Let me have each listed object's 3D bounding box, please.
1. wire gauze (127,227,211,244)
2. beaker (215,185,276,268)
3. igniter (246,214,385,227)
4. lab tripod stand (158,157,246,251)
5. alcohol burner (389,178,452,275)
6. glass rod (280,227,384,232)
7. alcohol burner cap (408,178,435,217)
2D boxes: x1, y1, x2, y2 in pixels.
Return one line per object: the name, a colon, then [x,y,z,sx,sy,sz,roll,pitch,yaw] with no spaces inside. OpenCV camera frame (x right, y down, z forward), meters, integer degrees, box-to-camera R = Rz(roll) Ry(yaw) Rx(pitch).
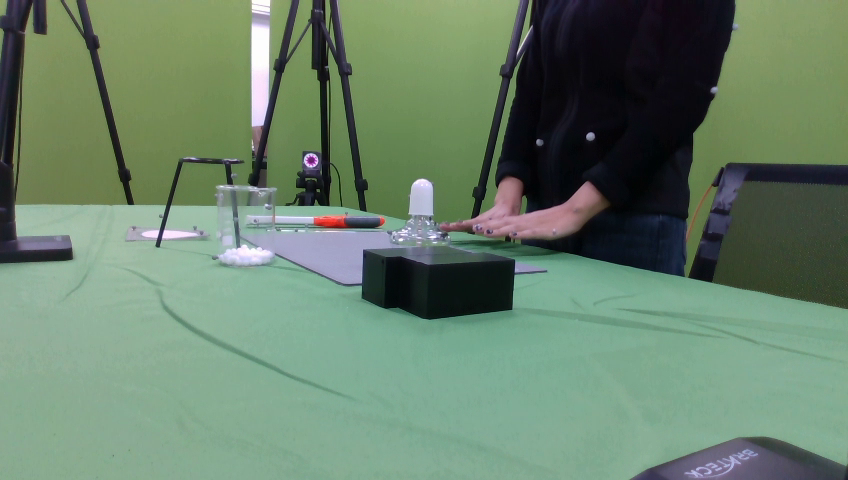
wire gauze: [-0.420,-0.010,0.999,0.122,0.011,0.124,-2,10,-24]
beaker: [-0.226,-0.019,0.773,0.074,0.100,0.084,5,7,14]
igniter: [-0.214,-0.040,1.216,0.278,0.025,0.057,0,-2,-23]
lab tripod stand: [-0.314,-0.055,0.891,0.148,0.131,0.148,2,9,0]
alcohol burner: [-0.004,-0.017,0.749,0.078,0.119,0.078,1,9,0]
glass rod: [-0.175,-0.021,1.161,0.200,0.008,0.008,1,7,-15]
alcohol burner cap: [-0.002,-0.053,0.746,0.034,0.048,0.034,3,3,0]
